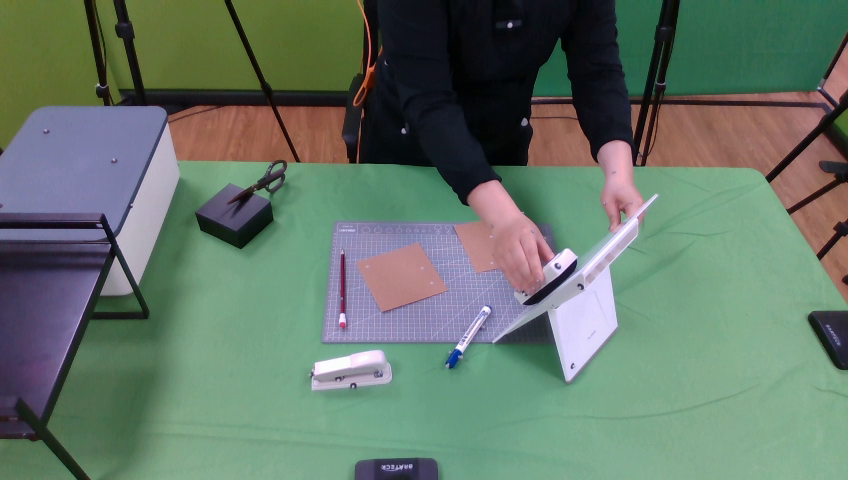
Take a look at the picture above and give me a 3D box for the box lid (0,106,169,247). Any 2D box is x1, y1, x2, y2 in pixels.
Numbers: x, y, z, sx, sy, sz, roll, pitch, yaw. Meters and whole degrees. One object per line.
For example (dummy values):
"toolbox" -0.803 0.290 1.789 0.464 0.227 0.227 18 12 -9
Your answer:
"box lid" -0.624 -0.125 1.067 0.263 0.015 0.369 0 46 -3

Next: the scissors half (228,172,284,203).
"scissors half" -0.339 -0.101 1.229 0.013 0.040 0.175 22 28 15

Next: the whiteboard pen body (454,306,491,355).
"whiteboard pen body" 0.079 0.163 1.047 0.017 0.017 0.140 25 50 19

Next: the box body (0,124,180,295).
"box body" -0.628 -0.075 1.122 0.254 0.161 0.361 1 46 -4

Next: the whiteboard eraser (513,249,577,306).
"whiteboard eraser" 0.185 0.061 0.915 0.055 0.113 0.041 -33 78 -36

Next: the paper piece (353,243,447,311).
"paper piece" -0.046 0.066 1.136 0.136 0.009 0.137 -13 47 -22

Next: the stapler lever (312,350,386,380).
"stapler lever" -0.120 0.199 0.963 0.118 0.040 0.026 -4 44 -8

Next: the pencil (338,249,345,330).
"pencil" -0.152 0.085 1.107 0.012 0.012 0.192 -2 44 -7

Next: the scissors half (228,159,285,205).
"scissors half" -0.335 -0.116 1.217 0.013 0.040 0.175 26 46 12

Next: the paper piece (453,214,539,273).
"paper piece" 0.142 0.003 1.212 0.135 0.004 0.135 -11 48 -15

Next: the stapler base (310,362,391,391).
"stapler base" -0.119 0.215 0.980 0.131 0.024 0.041 -5 44 -7

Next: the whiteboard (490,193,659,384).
"whiteboard" 0.278 0.101 0.969 0.217 0.306 0.143 -36 79 -33

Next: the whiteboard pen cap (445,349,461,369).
"whiteboard pen cap" 0.049 0.197 1.011 0.018 0.018 0.033 23 49 17
